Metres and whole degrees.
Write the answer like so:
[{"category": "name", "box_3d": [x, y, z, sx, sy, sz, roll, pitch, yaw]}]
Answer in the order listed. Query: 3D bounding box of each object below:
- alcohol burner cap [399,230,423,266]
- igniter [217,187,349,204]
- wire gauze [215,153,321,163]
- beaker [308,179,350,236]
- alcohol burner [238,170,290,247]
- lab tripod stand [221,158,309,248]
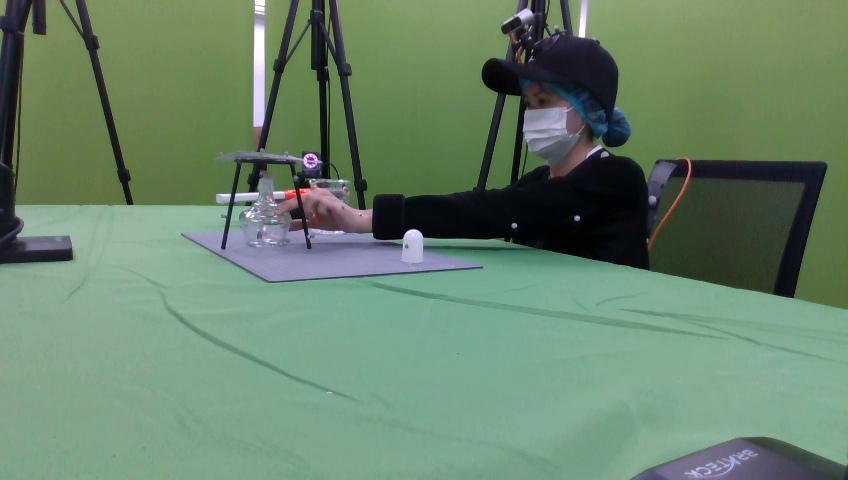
[{"category": "alcohol burner cap", "box_3d": [-0.017, 0.010, 0.837, 0.034, 0.048, 0.034, 3, 7, 0]}, {"category": "igniter", "box_3d": [-0.285, -0.093, 1.256, 0.278, 0.025, 0.057, -6, 12, -34]}, {"category": "wire gauze", "box_3d": [-0.235, -0.123, 0.906, 0.126, 0.011, 0.121, -2, 7, -33]}, {"category": "beaker", "box_3d": [-0.176, -0.060, 1.105, 0.073, 0.100, 0.084, 8, 10, 39]}, {"category": "alcohol burner", "box_3d": [-0.244, -0.049, 0.927, 0.078, 0.119, 0.078, 3, 5, 0]}, {"category": "lab tripod stand", "box_3d": [-0.244, -0.057, 0.917, 0.148, 0.131, 0.148, 1, 7, 0]}]
